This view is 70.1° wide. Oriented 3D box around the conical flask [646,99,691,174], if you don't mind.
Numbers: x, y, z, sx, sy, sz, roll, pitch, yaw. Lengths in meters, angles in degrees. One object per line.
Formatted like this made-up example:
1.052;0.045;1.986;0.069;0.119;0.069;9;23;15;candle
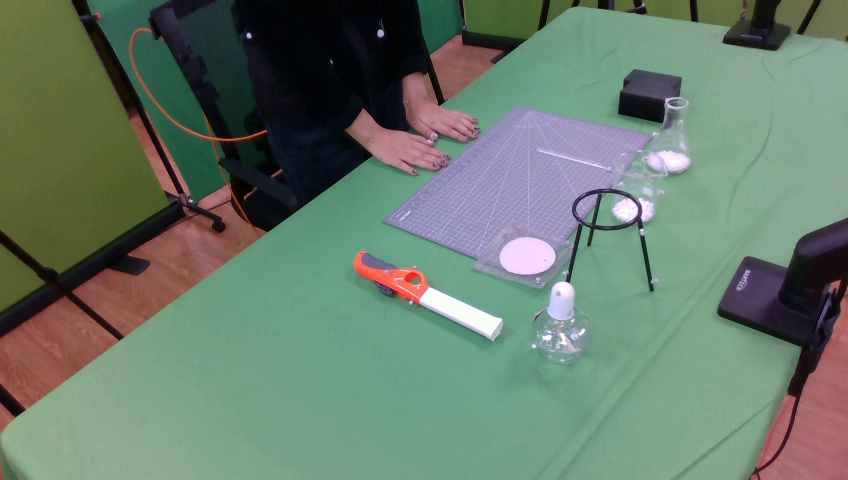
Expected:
0.426;-0.180;1.037;0.075;0.122;0.075;-5;40;5;conical flask

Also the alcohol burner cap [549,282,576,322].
0.171;0.073;0.737;0.034;0.048;0.033;-2;38;2;alcohol burner cap

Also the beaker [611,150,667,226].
0.337;-0.079;0.953;0.083;0.101;0.074;25;51;33;beaker

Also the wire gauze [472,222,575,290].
0.157;0.024;0.933;0.120;0.011;0.125;21;49;31;wire gauze

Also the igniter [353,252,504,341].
-0.005;0.077;0.889;0.274;0.025;0.057;23;59;33;igniter

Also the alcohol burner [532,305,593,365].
0.174;0.100;0.761;0.078;0.119;0.077;-6;38;5;alcohol burner

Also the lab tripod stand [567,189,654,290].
0.251;0.003;0.845;0.148;0.132;0.147;-7;39;6;lab tripod stand

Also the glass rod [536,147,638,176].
0.294;-0.145;1.104;0.198;0.008;0.008;22;50;31;glass rod
